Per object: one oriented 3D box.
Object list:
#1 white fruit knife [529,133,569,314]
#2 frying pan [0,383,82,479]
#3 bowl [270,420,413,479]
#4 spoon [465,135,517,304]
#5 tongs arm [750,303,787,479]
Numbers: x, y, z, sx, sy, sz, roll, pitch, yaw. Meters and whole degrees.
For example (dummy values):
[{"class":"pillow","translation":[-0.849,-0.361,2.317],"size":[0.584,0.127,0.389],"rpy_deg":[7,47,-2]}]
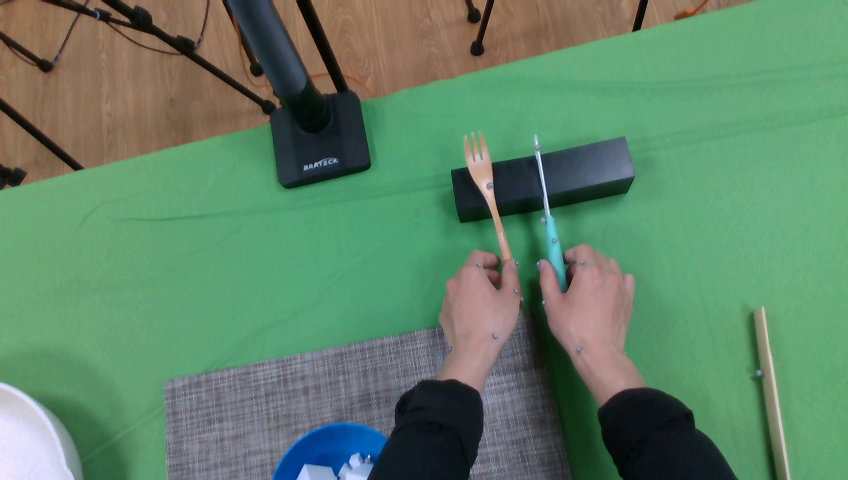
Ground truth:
[{"class":"white fruit knife","translation":[0.138,-0.019,0.681],"size":[0.016,0.027,0.207],"rpy_deg":[-10,87,1]},{"class":"frying pan","translation":[-0.501,0.398,0.638],"size":[0.307,0.103,0.483],"rpy_deg":[-13,64,5]},{"class":"bowl","translation":[-0.077,0.264,0.626],"size":[0.151,0.077,0.150],"rpy_deg":[-2,73,7]},{"class":"spoon","translation":[0.081,-0.023,0.684],"size":[0.042,0.021,0.193],"rpy_deg":[-11,87,-26]},{"class":"tongs arm","translation":[0.365,0.253,0.597],"size":[0.028,0.028,0.385],"rpy_deg":[-4,74,5]}]
